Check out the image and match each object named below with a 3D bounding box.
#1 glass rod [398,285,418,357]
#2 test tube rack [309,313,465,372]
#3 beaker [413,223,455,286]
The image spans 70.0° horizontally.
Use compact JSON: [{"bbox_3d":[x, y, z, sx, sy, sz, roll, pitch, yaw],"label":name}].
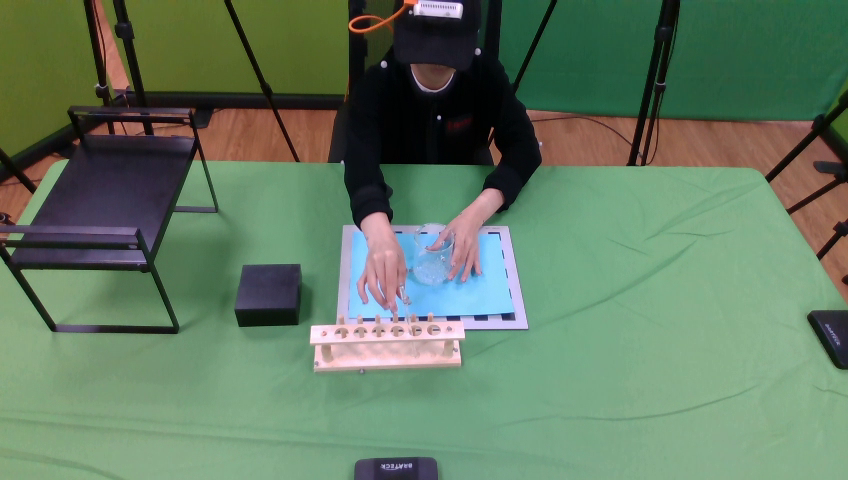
[{"bbox_3d":[-0.022,0.129,0.932,0.008,0.201,0.008,-4,49,5],"label":"glass rod"},{"bbox_3d":[-0.059,0.161,0.990,0.242,0.085,0.066,-1,46,-5],"label":"test tube rack"},{"bbox_3d":[0.018,0.027,1.110,0.073,0.101,0.084,37,53,28],"label":"beaker"}]
